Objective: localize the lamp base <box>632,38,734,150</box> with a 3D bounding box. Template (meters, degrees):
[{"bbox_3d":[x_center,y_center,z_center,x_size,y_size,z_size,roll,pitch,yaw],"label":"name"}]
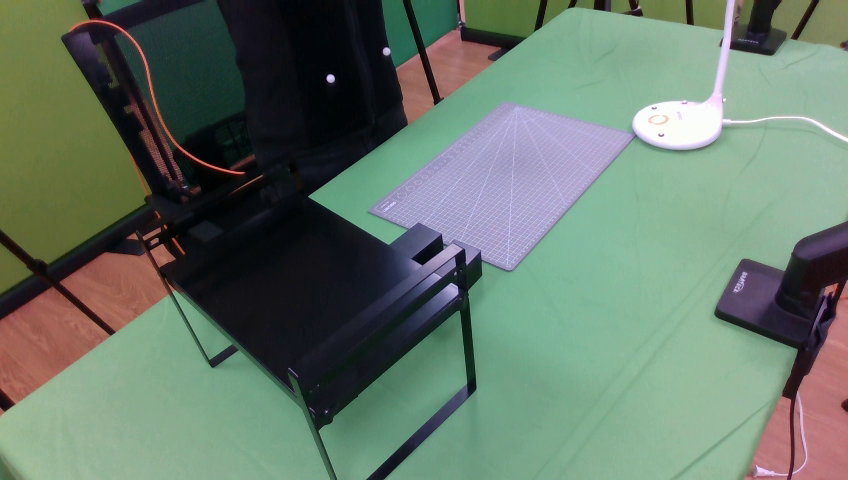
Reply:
[{"bbox_3d":[0.486,-0.280,1.108,0.179,0.181,0.159,-5,41,-1],"label":"lamp base"}]
